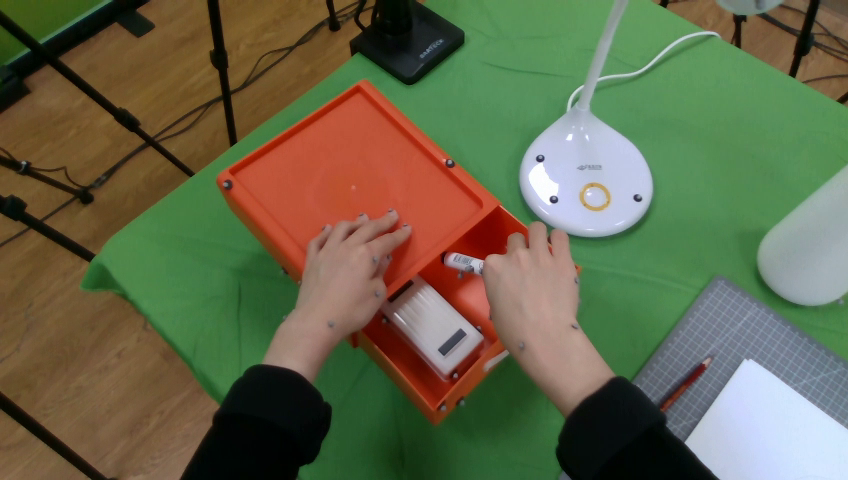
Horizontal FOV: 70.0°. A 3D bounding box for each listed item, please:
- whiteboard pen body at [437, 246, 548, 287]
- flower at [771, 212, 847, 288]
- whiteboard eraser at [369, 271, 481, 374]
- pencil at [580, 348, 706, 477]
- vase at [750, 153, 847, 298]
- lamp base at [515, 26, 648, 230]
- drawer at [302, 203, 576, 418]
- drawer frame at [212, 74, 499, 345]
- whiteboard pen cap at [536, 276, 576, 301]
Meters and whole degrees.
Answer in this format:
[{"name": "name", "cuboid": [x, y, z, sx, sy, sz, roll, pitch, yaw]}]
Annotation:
[{"name": "whiteboard pen body", "cuboid": [0.069, 0.026, 0.556, 0.139, 0.017, 0.017, 14, 58, 39]}, {"name": "flower", "cuboid": [0.426, -0.067, 0.537, 0.038, 0.364, 0.044, 27, 47, 7]}, {"name": "whiteboard eraser", "cuboid": [-0.002, 0.075, 0.590, 0.055, 0.042, 0.111, -38, 61, -21]}, {"name": "pencil", "cuboid": [0.225, 0.169, 0.608, 0.194, 0.012, 0.012, -36, 66, -19]}, {"name": "vase", "cuboid": [0.410, -0.019, 0.605, 0.098, 0.201, 0.097, -1, 60, 1]}, {"name": "lamp base", "cuboid": [0.187, -0.129, 0.676, 0.161, 0.182, 0.177, -12, 59, -6]}, {"name": "drawer", "cuboid": [0.005, 0.031, 0.599, 0.194, 0.074, 0.210, -41, 68, -19]}, {"name": "drawer frame", "cuboid": [-0.069, -0.036, 0.632, 0.201, 0.083, 0.212, -40, 73, -18]}, {"name": "whiteboard pen cap", "cuboid": [0.112, 0.041, 0.519, 0.033, 0.018, 0.018, 16, 59, 39]}]
